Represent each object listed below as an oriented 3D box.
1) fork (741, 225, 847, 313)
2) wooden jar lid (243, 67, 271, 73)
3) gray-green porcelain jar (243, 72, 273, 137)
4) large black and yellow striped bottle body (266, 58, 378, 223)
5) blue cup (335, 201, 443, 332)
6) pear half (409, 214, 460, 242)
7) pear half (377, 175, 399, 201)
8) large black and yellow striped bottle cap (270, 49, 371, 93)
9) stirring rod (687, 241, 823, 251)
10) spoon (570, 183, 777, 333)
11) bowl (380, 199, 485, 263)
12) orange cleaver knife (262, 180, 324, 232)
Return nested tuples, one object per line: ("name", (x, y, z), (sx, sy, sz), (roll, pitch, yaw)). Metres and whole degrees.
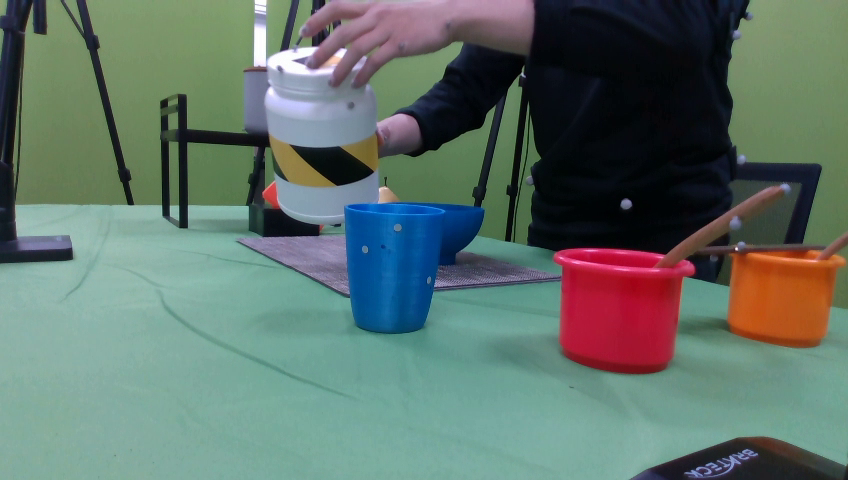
("fork", (0.323, 0.013, 0.485), (0.028, 0.018, 0.207), (9, -38, -5))
("wooden jar lid", (-0.319, -0.342, 1.254), (0.108, 0.020, 0.108), (3, 8, 0))
("gray-green porcelain jar", (-0.322, -0.279, 1.263), (0.106, 0.126, 0.106), (3, 8, 0))
("large black and yellow striped bottle body", (-0.122, -0.128, 0.746), (0.131, 0.184, 0.130), (2, 33, -1))
("blue cup", (-0.029, 0.021, 0.507), (0.093, 0.100, 0.092), (2, 9, 0))
("pear half", (0.012, -0.020, 0.848), (0.070, 0.031, 0.088), (3, 13, 33))
("pear half", (-0.064, -0.061, 1.077), (0.055, 0.110, 0.077), (9, 14, 39))
("large black and yellow striped bottle cap", (-0.119, -0.198, 0.701), (0.115, 0.019, 0.115), (3, 33, -2))
("stirring rod", (0.289, 0.005, 0.525), (0.177, 0.006, 0.014), (-1, 5, -26))
("spoon", (0.161, 0.020, 0.413), (0.042, 0.021, 0.193), (1, -36, -24))
("bowl", (0.008, -0.012, 0.841), (0.151, 0.077, 0.151), (2, 8, 0))
("orange cleaver knife", (-0.201, -0.056, 1.136), (0.212, 0.077, 0.012), (31, -4, -31))
